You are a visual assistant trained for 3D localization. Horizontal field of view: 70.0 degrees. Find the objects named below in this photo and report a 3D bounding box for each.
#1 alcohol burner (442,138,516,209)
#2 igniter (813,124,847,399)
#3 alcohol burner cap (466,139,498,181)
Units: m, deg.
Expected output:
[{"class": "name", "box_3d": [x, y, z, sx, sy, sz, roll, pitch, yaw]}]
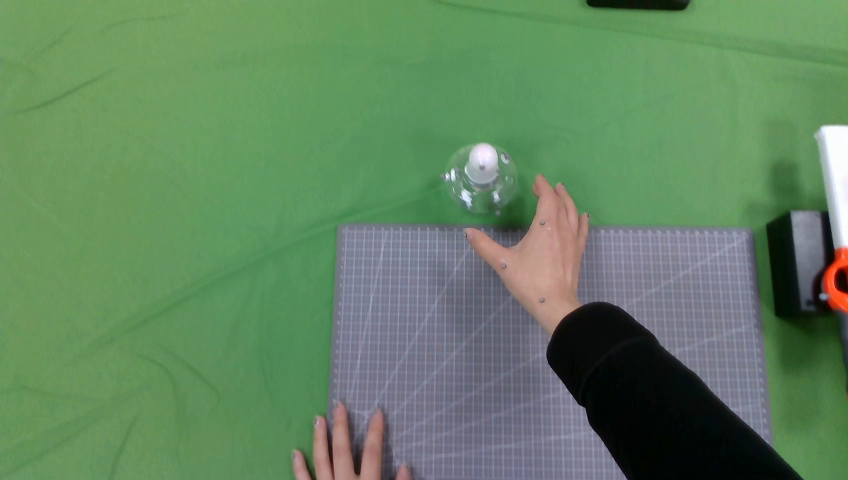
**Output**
[{"class": "alcohol burner", "box_3d": [0.057, -0.074, 0.621, 0.078, 0.119, 0.077, -1, 77, 4]}, {"class": "igniter", "box_3d": [0.412, 0.016, 0.587, 0.057, 0.025, 0.275, 2, 75, 4]}, {"class": "alcohol burner cap", "box_3d": [0.057, -0.080, 0.591, 0.034, 0.048, 0.033, -1, 78, 4]}]
